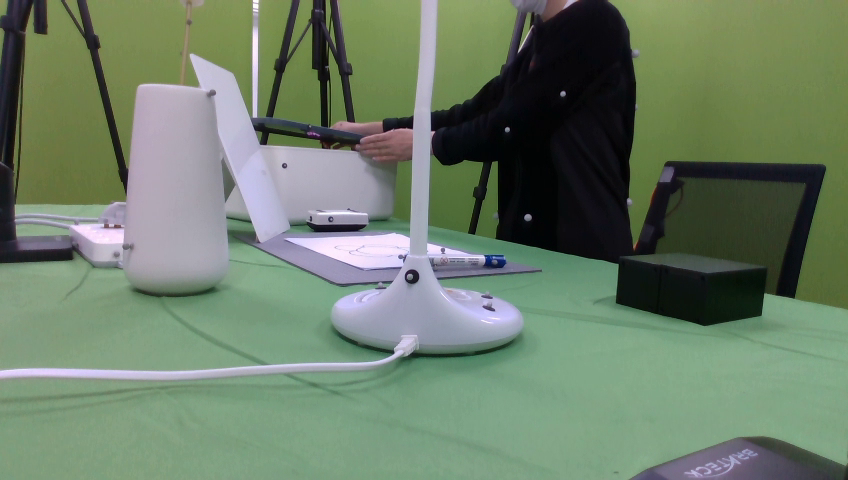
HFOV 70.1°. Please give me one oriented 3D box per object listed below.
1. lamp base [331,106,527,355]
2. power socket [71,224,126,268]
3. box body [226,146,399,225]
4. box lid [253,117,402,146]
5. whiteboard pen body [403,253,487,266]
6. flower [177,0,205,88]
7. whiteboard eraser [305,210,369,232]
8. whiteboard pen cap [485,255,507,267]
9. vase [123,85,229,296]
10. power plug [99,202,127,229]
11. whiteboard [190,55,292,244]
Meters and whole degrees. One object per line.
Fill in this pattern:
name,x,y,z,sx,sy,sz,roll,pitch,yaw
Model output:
lamp base,0.006,-0.012,0.478,0.161,0.180,0.179,2,10,2
power socket,-0.409,0.004,0.793,0.072,0.032,0.225,-2,8,-37
box body,-0.264,-0.129,1.380,0.253,0.160,0.366,8,9,39
box lid,-0.260,-0.241,1.361,0.262,0.015,0.374,10,7,42
whiteboard pen body,0.040,0.026,0.785,0.141,0.017,0.017,2,7,-24
flower,-0.243,-0.131,0.609,0.044,0.361,0.038,-5,-12,12
whiteboard eraser,-0.168,-0.038,1.172,0.113,0.042,0.055,-3,7,-35
whiteboard pen cap,0.093,0.028,0.809,0.033,0.018,0.018,2,7,-24
vase,-0.244,-0.047,0.598,0.098,0.200,0.098,3,8,0
power plug,-0.415,-0.026,0.848,0.073,0.052,0.035,6,5,-28
whiteboard,-0.363,-0.129,1.028,0.144,0.305,0.217,-18,7,3
